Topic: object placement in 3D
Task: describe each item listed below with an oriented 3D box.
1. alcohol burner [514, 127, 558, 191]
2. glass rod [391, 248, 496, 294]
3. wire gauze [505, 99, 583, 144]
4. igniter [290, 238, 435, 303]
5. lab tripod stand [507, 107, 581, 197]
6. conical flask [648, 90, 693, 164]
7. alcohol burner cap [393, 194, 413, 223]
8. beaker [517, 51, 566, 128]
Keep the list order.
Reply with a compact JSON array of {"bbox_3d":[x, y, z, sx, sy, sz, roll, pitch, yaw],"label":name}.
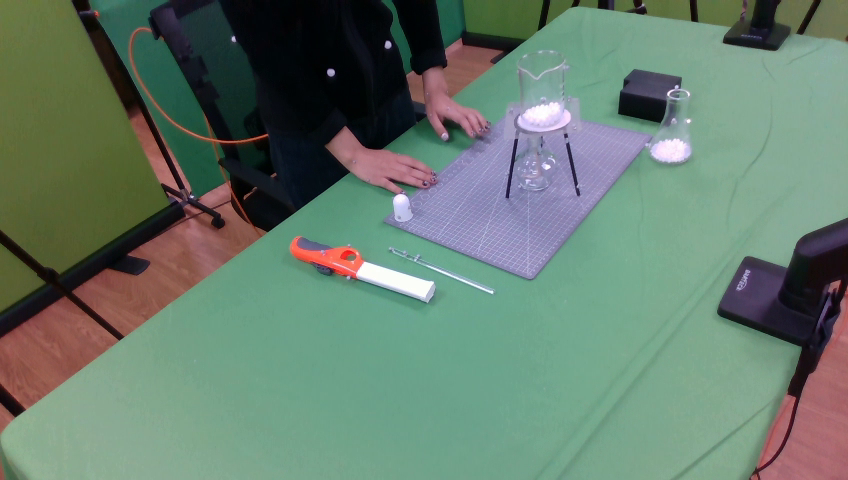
[{"bbox_3d":[0.192,-0.145,1.043,0.078,0.119,0.077,-5,42,5],"label":"alcohol burner"},{"bbox_3d":[0.026,0.045,0.937,0.198,0.008,0.008,21,49,31],"label":"glass rod"},{"bbox_3d":[0.195,-0.199,0.988,0.121,0.011,0.124,-3,41,13],"label":"wire gauze"},{"bbox_3d":[-0.106,0.044,0.949,0.274,0.025,0.057,16,57,28],"label":"igniter"},{"bbox_3d":[0.201,-0.151,1.033,0.148,0.132,0.147,-7,39,6],"label":"lab tripod stand"},{"bbox_3d":[0.437,-0.199,1.057,0.075,0.122,0.075,-5,40,5],"label":"conical flask"},{"bbox_3d":[-0.038,-0.056,1.038,0.034,0.048,0.033,-5,40,5],"label":"alcohol burner cap"},{"bbox_3d":[0.186,-0.235,0.957,0.073,0.101,0.084,4,42,18],"label":"beaker"}]
